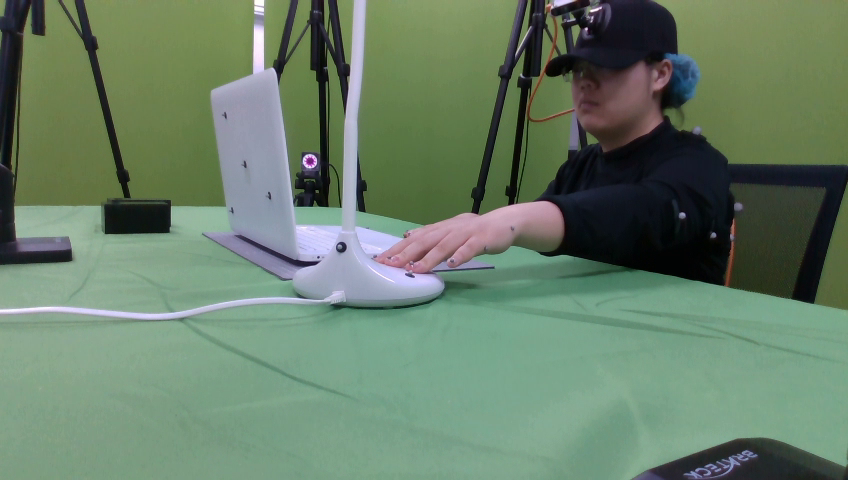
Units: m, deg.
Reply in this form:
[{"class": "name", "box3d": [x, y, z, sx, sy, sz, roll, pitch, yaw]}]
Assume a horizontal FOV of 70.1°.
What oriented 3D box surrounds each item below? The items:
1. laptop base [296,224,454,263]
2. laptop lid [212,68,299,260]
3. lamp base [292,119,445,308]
[{"class": "laptop base", "box3d": [-0.143, 0.003, 0.957, 0.237, 0.023, 0.352, 2, 7, -32]}, {"class": "laptop lid", "box3d": [-0.254, -0.110, 0.872, 0.013, 0.241, 0.355, -11, 14, -29]}, {"class": "lamp base", "box3d": [-0.056, -0.030, 0.616, 0.160, 0.180, 0.179, 3, 10, 8]}]
